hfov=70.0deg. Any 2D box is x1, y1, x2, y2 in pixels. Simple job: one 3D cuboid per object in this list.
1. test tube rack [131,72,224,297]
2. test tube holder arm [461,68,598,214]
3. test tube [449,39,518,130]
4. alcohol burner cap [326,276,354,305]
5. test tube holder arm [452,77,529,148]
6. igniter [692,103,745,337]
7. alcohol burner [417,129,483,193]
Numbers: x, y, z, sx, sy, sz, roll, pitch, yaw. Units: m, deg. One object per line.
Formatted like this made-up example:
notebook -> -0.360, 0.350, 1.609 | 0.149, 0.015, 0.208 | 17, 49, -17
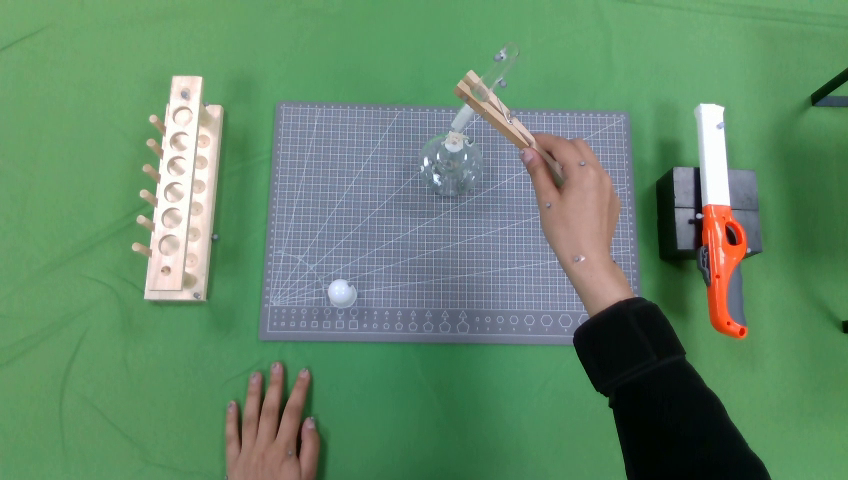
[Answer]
test tube rack -> -0.284, -0.061, 0.691 | 0.067, 0.085, 0.241 | 1, 77, -2
test tube holder arm -> 0.100, -0.092, 0.570 | 0.179, 0.015, 0.013 | 44, 72, -5
test tube -> 0.051, -0.137, 0.557 | 0.017, 0.150, 0.017 | 4, 75, -14
alcohol burner cap -> -0.098, 0.056, 0.693 | 0.034, 0.048, 0.033 | 1, 78, -4
test tube holder arm -> 0.064, -0.118, 0.563 | 0.088, 0.015, 0.010 | 38, 72, -7
igniter -> 0.335, -0.028, 0.693 | 0.057, 0.025, 0.275 | 4, 74, -4
alcohol burner -> 0.030, -0.097, 0.696 | 0.078, 0.119, 0.077 | 0, 78, 0
